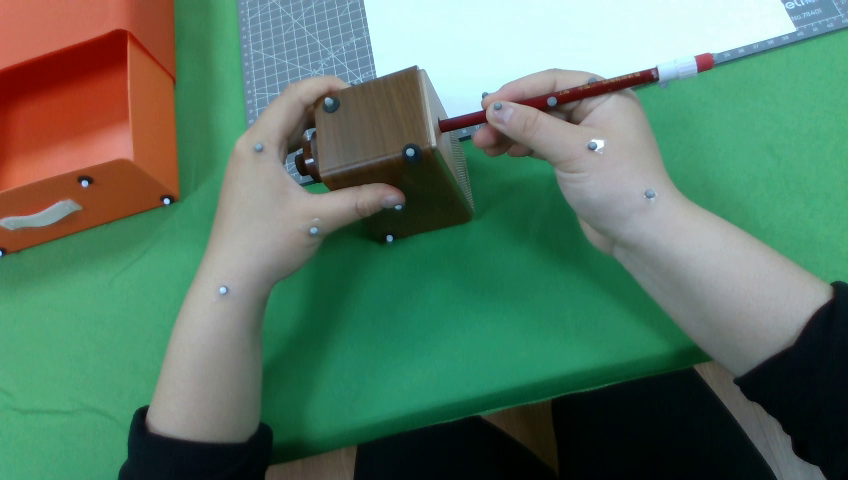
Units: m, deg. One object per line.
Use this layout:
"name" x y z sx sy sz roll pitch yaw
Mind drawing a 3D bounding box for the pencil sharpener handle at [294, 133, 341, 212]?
"pencil sharpener handle" -0.070 -0.038 0.390 0.030 0.068 0.035 -14 62 13

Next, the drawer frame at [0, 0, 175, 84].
"drawer frame" -0.335 -0.208 0.547 0.201 0.083 0.211 -16 65 7

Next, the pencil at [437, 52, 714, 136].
"pencil" 0.062 -0.076 0.345 0.194 0.012 0.012 -12 66 13

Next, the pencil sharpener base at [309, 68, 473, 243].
"pencil sharpener base" -0.018 -0.048 0.391 0.076 0.108 0.061 -14 67 13

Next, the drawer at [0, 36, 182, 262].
"drawer" -0.309 -0.103 0.501 0.194 0.074 0.210 -17 65 8
